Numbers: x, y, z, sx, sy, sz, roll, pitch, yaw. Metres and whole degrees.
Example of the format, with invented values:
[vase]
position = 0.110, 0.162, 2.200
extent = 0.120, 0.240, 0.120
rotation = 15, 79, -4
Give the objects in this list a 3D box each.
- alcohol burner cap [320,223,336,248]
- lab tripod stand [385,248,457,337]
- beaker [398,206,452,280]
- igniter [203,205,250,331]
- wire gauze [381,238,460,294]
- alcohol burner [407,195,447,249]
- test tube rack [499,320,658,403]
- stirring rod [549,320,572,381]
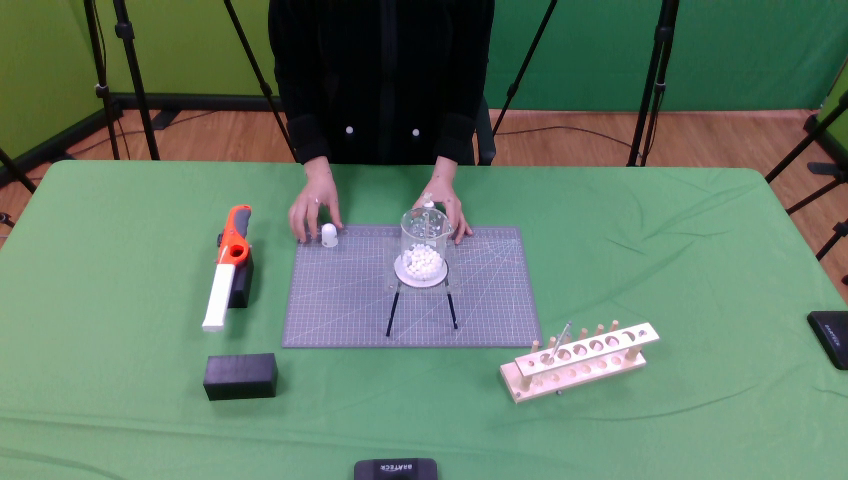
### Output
[alcohol burner cap]
position = -0.188, -0.011, 1.176
extent = 0.034, 0.048, 0.033
rotation = 2, 46, -2
[lab tripod stand]
position = -0.010, 0.087, 1.032
extent = 0.148, 0.132, 0.147
rotation = 1, 45, -1
[beaker]
position = 0.000, 0.008, 0.950
extent = 0.084, 0.101, 0.073
rotation = 10, 45, 6
[igniter]
position = -0.345, 0.039, 1.065
extent = 0.057, 0.025, 0.274
rotation = 2, 48, -6
[wire gauze]
position = -0.008, 0.042, 0.985
extent = 0.125, 0.011, 0.120
rotation = -1, 43, -2
[alcohol burner]
position = 0.006, -0.040, 1.170
extent = 0.078, 0.120, 0.077
rotation = 1, 47, -1
[test tube rack]
position = 0.252, 0.187, 0.994
extent = 0.243, 0.085, 0.066
rotation = -12, 48, -15
[stirring rod]
position = 0.202, 0.167, 0.901
extent = 0.006, 0.177, 0.014
rotation = -17, 54, -11
